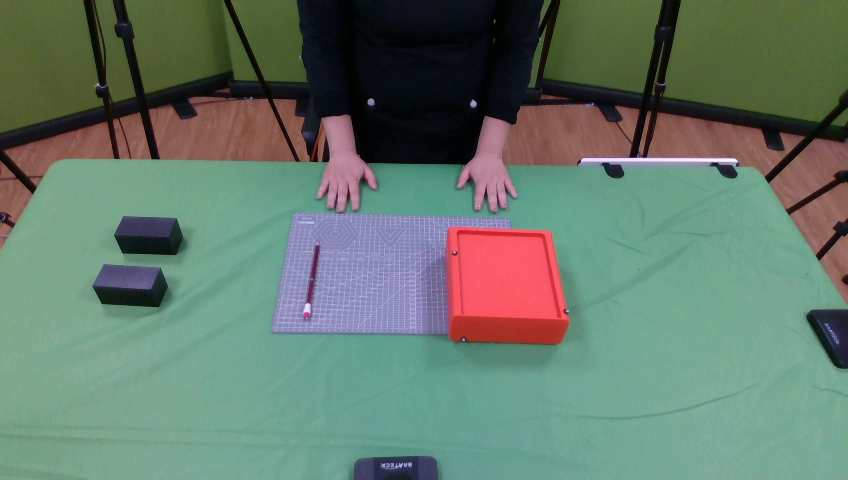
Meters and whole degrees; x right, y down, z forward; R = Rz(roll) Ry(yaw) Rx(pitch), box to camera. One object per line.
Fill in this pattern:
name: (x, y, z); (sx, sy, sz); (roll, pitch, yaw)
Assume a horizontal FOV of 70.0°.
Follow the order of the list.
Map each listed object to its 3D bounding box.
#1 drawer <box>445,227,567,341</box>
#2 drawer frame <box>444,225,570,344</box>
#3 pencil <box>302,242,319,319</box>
drawer: (0.140, 0.076, 1.090); (0.195, 0.073, 0.210); (3, 47, -4)
drawer frame: (0.141, 0.077, 1.088); (0.202, 0.083, 0.212); (2, 47, -4)
pencil: (-0.208, 0.070, 1.119); (0.012, 0.012, 0.193); (2, 43, -2)
